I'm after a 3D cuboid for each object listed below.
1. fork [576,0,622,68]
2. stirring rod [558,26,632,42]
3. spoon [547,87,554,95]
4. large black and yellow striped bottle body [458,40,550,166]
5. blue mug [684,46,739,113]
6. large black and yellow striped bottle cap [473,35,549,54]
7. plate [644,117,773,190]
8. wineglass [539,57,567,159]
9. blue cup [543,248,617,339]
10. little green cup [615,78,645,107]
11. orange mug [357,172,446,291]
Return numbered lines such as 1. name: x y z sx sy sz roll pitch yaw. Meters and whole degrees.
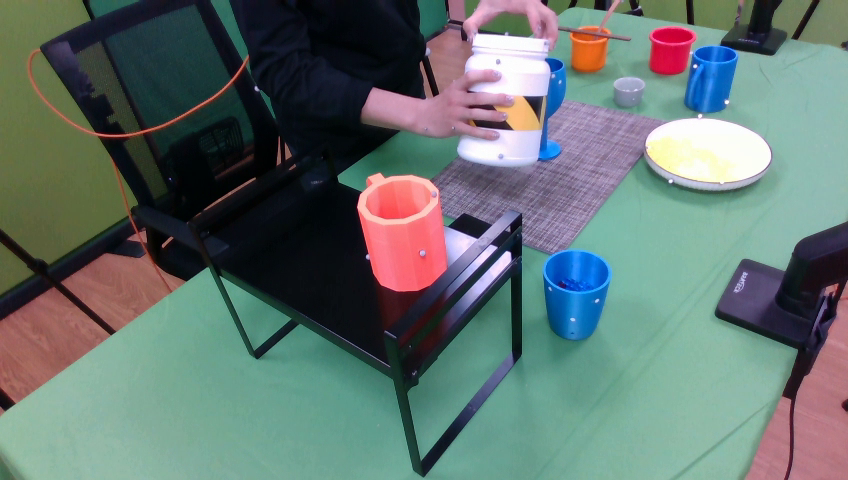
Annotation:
1. fork: 0.409 -0.484 1.381 0.028 0.019 0.207 37 101 45
2. stirring rod: 0.381 -0.463 1.356 0.175 0.006 0.014 22 47 30
3. spoon: 0.227 -0.285 1.269 0.041 0.022 0.194 2 36 45
4. large black and yellow striped bottle body: 0.124 -0.216 0.939 0.131 0.184 0.130 4 18 -1
5. blue mug: 0.556 -0.310 1.190 0.117 0.106 0.081 -32 46 -25
6. large black and yellow striped bottle cap: 0.131 -0.296 0.914 0.115 0.019 0.114 5 20 -1
7. plate: 0.495 -0.148 1.063 0.209 0.038 0.208 -5 40 4
8. wineglass: 0.221 -0.237 1.097 0.074 0.173 0.073 -4 41 4
9. blue cup: 0.199 0.076 0.797 0.092 0.100 0.092 -4 39 4
10. little green cup: 0.426 -0.306 1.257 0.061 0.039 0.061 -4 40 4
11. orange mug: -0.030 -0.019 0.668 0.084 0.101 0.125 -23 47 -16
